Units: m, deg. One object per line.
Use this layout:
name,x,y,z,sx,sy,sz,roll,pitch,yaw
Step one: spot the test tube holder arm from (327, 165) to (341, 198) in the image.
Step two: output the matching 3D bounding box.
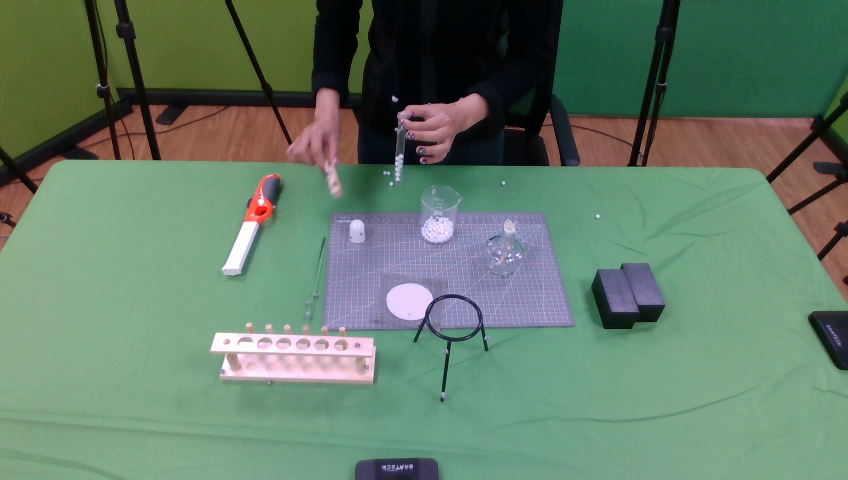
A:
test tube holder arm,-0.171,-0.111,1.129,0.010,0.015,0.087,-16,46,-11

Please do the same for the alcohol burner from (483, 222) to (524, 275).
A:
alcohol burner,0.152,0.009,1.135,0.078,0.119,0.077,4,47,-4

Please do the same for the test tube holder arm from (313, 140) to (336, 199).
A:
test tube holder arm,-0.191,-0.138,1.158,0.013,0.015,0.177,-16,46,-12

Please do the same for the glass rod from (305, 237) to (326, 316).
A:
glass rod,-0.202,0.064,1.131,0.008,0.008,0.198,4,43,0

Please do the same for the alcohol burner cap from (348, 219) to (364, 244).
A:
alcohol burner cap,-0.135,-0.019,1.190,0.034,0.048,0.033,2,46,-2

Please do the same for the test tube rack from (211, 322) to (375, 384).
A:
test tube rack,-0.202,0.176,0.969,0.242,0.085,0.066,3,46,-2

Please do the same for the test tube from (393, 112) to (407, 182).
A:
test tube,-0.044,-0.162,1.077,0.017,0.151,0.017,4,47,-4

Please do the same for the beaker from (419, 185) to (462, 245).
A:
beaker,0.029,-0.047,1.191,0.084,0.101,0.073,-5,47,-10

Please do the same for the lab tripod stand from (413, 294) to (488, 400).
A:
lab tripod stand,0.044,0.159,0.972,0.148,0.132,0.147,2,44,-2

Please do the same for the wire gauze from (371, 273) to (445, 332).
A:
wire gauze,-0.028,0.108,1.100,0.125,0.011,0.121,7,45,4

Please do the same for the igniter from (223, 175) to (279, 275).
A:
igniter,-0.341,-0.039,1.207,0.057,0.025,0.275,-1,45,8
